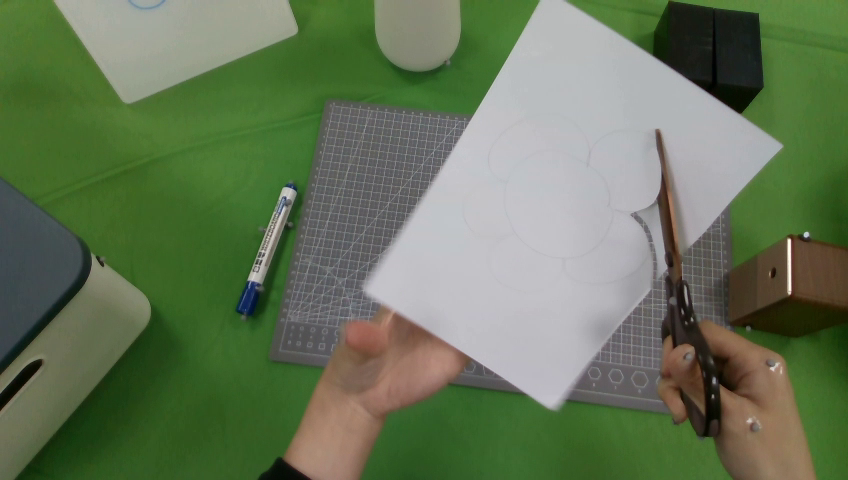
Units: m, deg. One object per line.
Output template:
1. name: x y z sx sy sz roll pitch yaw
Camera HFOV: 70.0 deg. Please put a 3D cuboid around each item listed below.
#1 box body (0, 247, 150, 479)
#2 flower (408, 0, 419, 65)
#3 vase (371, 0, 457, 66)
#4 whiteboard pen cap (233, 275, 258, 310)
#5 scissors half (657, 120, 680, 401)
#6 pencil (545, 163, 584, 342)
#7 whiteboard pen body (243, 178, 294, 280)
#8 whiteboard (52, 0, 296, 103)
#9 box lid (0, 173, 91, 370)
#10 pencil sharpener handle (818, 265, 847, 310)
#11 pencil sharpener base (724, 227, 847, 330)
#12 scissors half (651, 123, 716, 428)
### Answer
1. box body: -0.468 0.038 0.530 0.362 0.161 0.253 33 73 11
2. flower: -0.018 -0.315 0.553 0.044 0.365 0.038 0 52 4
3. vase: -0.012 -0.273 0.626 0.098 0.201 0.097 0 68 1
4. whiteboard pen cap: -0.175 0.051 0.601 0.018 0.018 0.033 13 66 5
5. scissors half: 0.146 0.016 0.362 0.013 0.040 0.176 -8 109 9
6. pencil: 0.146 0.009 0.624 0.012 0.012 0.192 -6 72 -2
7. whiteboard pen body: -0.162 -0.002 0.622 0.017 0.017 0.140 14 69 5
8. whiteboard: -0.300 -0.341 0.625 0.217 0.308 0.142 -26 53 -9
9. box lid: -0.469 0.010 0.461 0.370 0.015 0.262 33 73 11
10. pencil sharpener handle: 0.391 0.046 0.550 0.030 0.068 0.035 11 64 1
11. pencil sharpener base: 0.341 0.039 0.562 0.077 0.107 0.061 11 69 1
12. scissors half: 0.144 0.020 0.341 0.013 0.040 0.175 -9 86 4
